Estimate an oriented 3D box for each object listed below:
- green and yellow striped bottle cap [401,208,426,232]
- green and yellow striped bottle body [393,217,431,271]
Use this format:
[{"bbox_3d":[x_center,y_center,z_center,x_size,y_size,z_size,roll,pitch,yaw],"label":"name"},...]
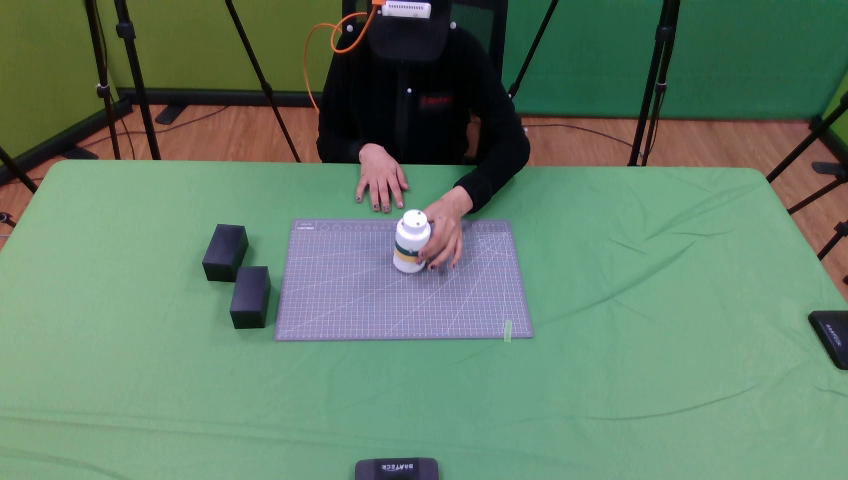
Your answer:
[{"bbox_3d":[-0.018,-0.036,1.080,0.045,0.020,0.045,5,48,-6],"label":"green and yellow striped bottle cap"},{"bbox_3d":[-0.022,-0.002,1.118,0.063,0.120,0.063,4,48,-5],"label":"green and yellow striped bottle body"}]
